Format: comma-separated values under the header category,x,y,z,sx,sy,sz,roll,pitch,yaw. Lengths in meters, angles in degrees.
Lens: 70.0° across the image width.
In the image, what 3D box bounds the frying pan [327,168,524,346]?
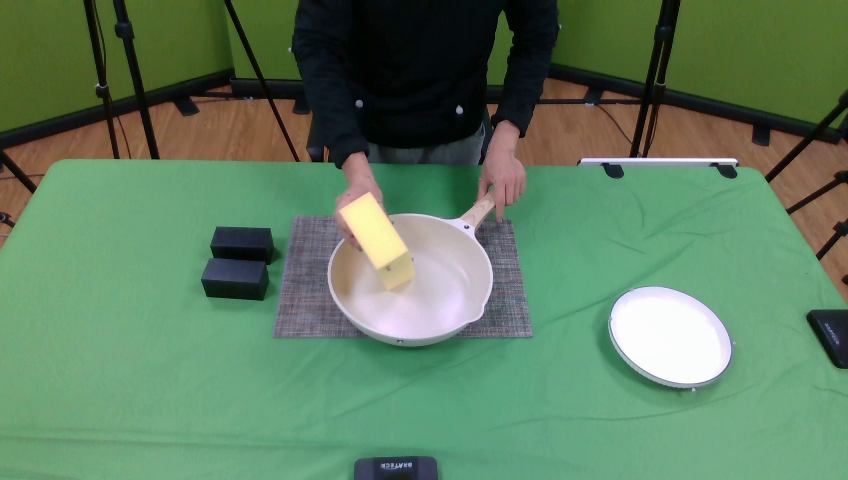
category,x,y,z,sx,sy,sz,roll,pitch,yaw
frying pan,0.042,0.009,1.132,0.305,0.103,0.487,34,61,24

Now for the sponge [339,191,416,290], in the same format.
category,x,y,z,sx,sy,sz,roll,pitch,yaw
sponge,-0.074,0.008,1.039,0.061,0.207,0.118,-32,77,-5

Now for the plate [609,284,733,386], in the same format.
category,x,y,z,sx,sy,sz,roll,pitch,yaw
plate,0.425,0.167,1.059,0.208,0.039,0.206,2,46,-2
